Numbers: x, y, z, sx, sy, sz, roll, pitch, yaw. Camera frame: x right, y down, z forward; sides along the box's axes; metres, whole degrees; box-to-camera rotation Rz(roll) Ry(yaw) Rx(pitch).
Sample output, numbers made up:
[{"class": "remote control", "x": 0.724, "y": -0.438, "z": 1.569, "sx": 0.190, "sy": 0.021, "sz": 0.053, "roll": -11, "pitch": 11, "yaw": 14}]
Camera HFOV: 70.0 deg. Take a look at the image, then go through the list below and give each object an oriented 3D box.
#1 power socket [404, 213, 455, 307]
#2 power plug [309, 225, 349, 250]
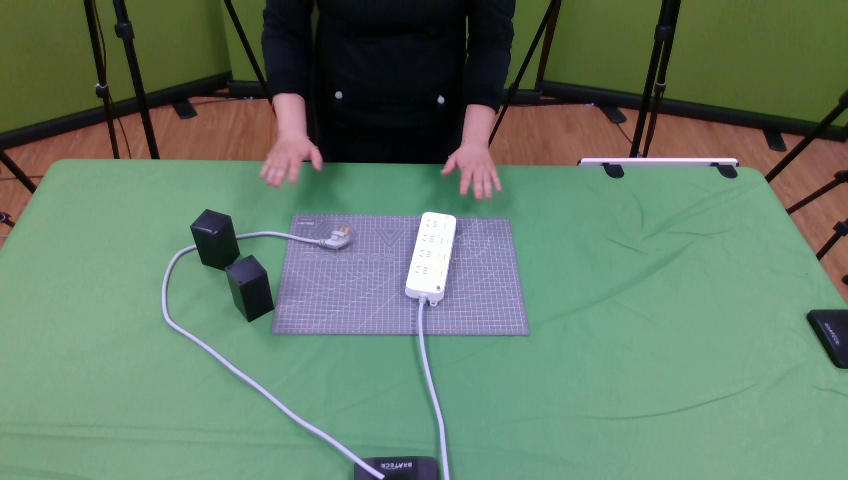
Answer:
[{"class": "power socket", "x": 0.013, "y": 0.029, "z": 1.159, "sx": 0.072, "sy": 0.033, "sz": 0.225, "roll": 8, "pitch": 46, "yaw": 5}, {"class": "power plug", "x": -0.182, "y": -0.010, "z": 1.175, "sx": 0.072, "sy": 0.035, "sz": 0.052, "roll": 20, "pitch": 65, "yaw": 0}]
